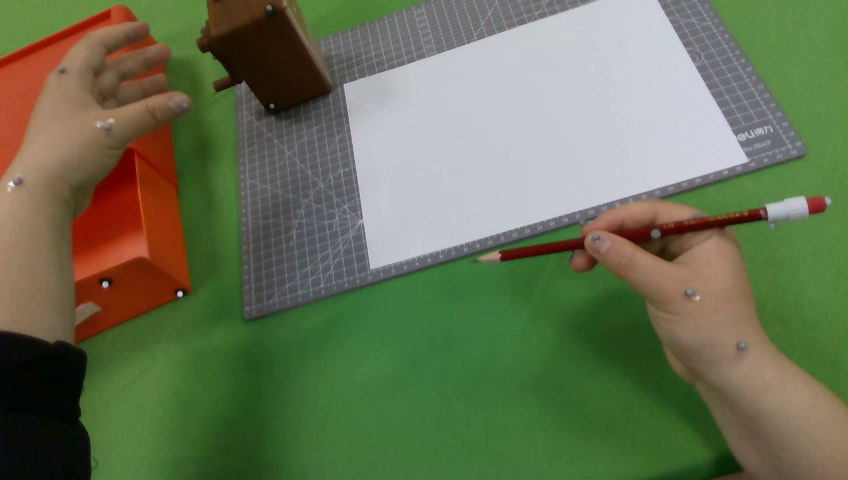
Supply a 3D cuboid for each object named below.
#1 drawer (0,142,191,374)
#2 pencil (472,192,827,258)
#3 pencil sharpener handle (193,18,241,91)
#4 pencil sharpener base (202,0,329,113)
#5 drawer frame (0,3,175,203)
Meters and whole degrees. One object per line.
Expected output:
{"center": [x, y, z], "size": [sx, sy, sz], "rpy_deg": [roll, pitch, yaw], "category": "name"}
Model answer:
{"center": [-0.325, -0.013, 0.544], "size": [0.194, 0.074, 0.209], "rpy_deg": [-24, 58, 3], "category": "drawer"}
{"center": [0.121, -0.005, 0.348], "size": [0.193, 0.012, 0.012], "rpy_deg": [-10, 60, 17], "category": "pencil"}
{"center": [-0.196, -0.166, 0.555], "size": [0.030, 0.068, 0.035], "rpy_deg": [-22, 53, 5], "category": "pencil sharpener handle"}
{"center": [-0.146, -0.181, 0.562], "size": [0.076, 0.108, 0.060], "rpy_deg": [-22, 59, 5], "category": "pencil sharpener base"}
{"center": [-0.362, -0.107, 0.603], "size": [0.201, 0.083, 0.211], "rpy_deg": [-23, 58, 4], "category": "drawer frame"}
